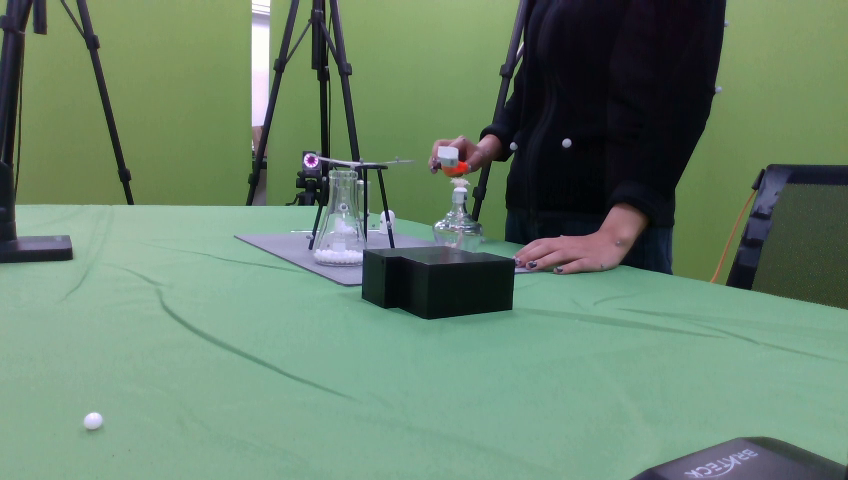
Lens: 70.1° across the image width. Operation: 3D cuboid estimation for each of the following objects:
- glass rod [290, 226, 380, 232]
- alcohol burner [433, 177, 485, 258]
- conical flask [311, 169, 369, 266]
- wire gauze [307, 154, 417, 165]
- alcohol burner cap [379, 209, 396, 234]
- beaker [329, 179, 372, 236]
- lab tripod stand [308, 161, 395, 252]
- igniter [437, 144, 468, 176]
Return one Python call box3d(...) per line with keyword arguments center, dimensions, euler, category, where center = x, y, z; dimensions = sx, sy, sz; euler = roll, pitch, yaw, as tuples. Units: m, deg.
box3d(center=(-0.161, -0.022, 1.177), dimensions=(0.201, 0.008, 0.008), euler=(-2, 8, -28), category="glass rod")
box3d(center=(0.052, -0.033, 0.894), dimensions=(0.078, 0.119, 0.078), euler=(2, 10, 0), category="alcohol burner")
box3d(center=(-0.107, -0.031, 0.786), dimensions=(0.075, 0.122, 0.075), euler=(2, 8, 0), category="conical flask")
box3d(center=(-0.094, -0.120, 0.913), dimensions=(0.122, 0.011, 0.124), euler=(-5, 11, -45), category="wire gauze")
box3d(center=(-0.069, -0.036, 1.154), dimensions=(0.034, 0.048, 0.034), euler=(3, 7, 0), category="alcohol burner cap")
box3d(center=(-0.137, -0.061, 1.101), dimensions=(0.084, 0.100, 0.074), euler=(4, 7, 20), category="beaker")
box3d(center=(-0.098, -0.053, 0.919), dimensions=(0.148, 0.131, 0.148), euler=(4, 7, 0), category="lab tripod stand")
box3d(center=(0.048, -0.137, 1.052), dimensions=(0.057, 0.025, 0.277), euler=(6, 0, 5), category="igniter")
